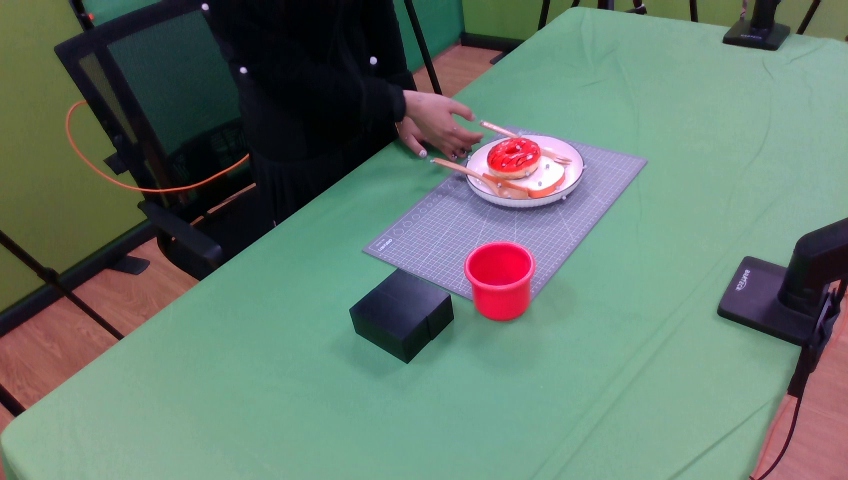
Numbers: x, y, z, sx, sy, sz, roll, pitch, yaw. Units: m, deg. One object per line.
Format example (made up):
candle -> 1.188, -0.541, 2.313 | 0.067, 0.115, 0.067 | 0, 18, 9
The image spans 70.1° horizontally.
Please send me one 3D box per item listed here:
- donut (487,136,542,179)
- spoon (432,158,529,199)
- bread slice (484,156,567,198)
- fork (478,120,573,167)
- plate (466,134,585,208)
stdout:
donut -> 0.159, -0.147, 1.068 | 0.099, 0.048, 0.098 | -9, 39, 8
spoon -> 0.095, -0.108, 1.055 | 0.192, 0.022, 0.042 | 30, 48, 21
bread slice -> 0.187, -0.120, 1.077 | 0.130, 0.019, 0.105 | 27, 53, 37
fork -> 0.185, -0.183, 1.130 | 0.206, 0.019, 0.028 | 33, 68, 24
plate -> 0.178, -0.120, 1.075 | 0.209, 0.038, 0.208 | -5, 40, 5
